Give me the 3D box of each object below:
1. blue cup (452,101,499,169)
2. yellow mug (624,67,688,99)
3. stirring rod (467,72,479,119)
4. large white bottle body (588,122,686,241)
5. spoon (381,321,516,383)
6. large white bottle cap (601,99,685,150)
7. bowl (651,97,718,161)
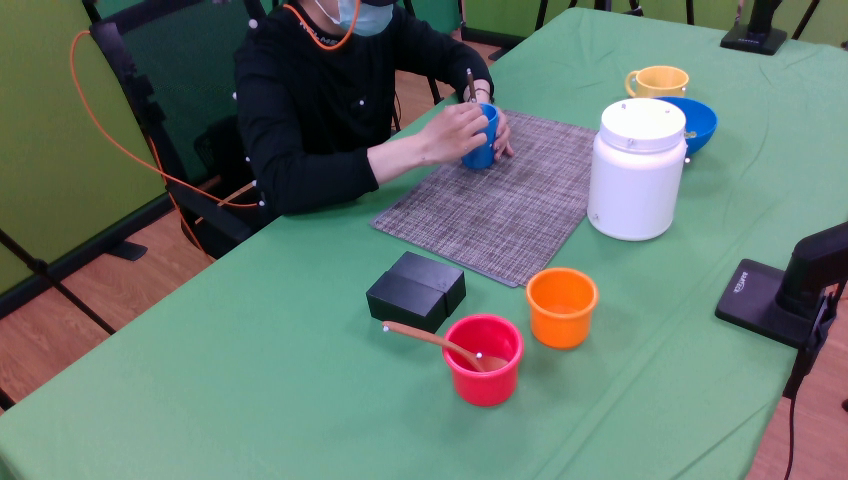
[{"bbox_3d":[0.098,-0.189,1.116,0.092,0.100,0.092,-5,40,5],"label":"blue cup"},{"bbox_3d":[0.465,-0.305,1.230,0.100,0.064,0.129,-34,46,-27],"label":"yellow mug"},{"bbox_3d":[0.094,-0.217,1.073,0.006,0.177,0.014,5,45,22],"label":"stirring rod"},{"bbox_3d":[0.324,-0.105,0.926,0.130,0.185,0.130,-4,41,4],"label":"large white bottle body"},{"bbox_3d":[0.033,0.131,0.726,0.195,0.021,0.041,29,30,-26],"label":"spoon"},{"bbox_3d":[0.315,-0.168,0.870,0.115,0.018,0.114,-4,41,4],"label":"large white bottle cap"},{"bbox_3d":[0.439,-0.186,1.087,0.151,0.077,0.150,-4,41,4],"label":"bowl"}]
